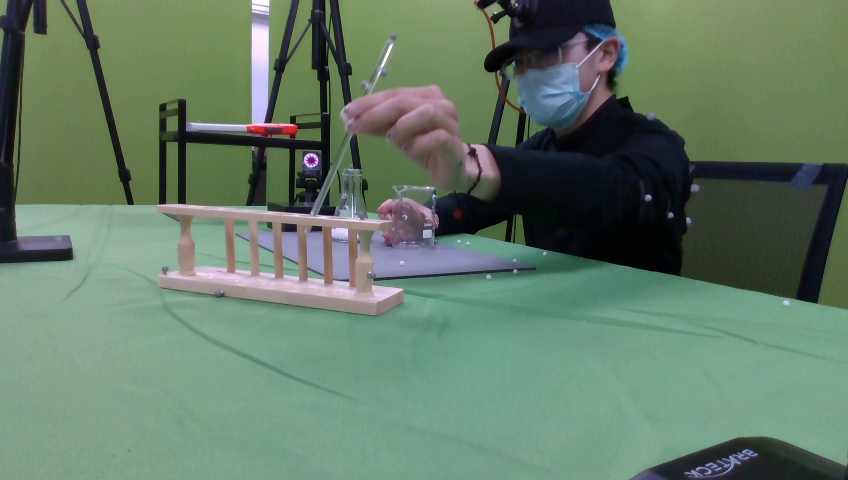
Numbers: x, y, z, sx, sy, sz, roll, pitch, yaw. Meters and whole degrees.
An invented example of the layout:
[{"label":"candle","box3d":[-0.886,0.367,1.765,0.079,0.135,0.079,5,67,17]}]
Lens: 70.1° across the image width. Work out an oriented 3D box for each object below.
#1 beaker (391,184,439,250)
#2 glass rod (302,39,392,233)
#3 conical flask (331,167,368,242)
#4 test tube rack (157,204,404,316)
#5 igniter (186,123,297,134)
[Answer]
[{"label":"beaker","box3d":[-0.018,-0.038,0.962,0.073,0.100,0.084,7,9,33]},{"label":"glass rod","box3d":[-0.072,-0.098,0.568,0.008,0.199,0.008,23,-2,1]},{"label":"conical flask","box3d":[-0.123,-0.061,1.018,0.075,0.122,0.075,2,7,0]},{"label":"test tube rack","box3d":[-0.143,0.013,0.598,0.242,0.085,0.067,5,8,19]},{"label":"igniter","box3d":[-0.392,-0.247,1.341,0.057,0.025,0.278,9,14,38]}]
